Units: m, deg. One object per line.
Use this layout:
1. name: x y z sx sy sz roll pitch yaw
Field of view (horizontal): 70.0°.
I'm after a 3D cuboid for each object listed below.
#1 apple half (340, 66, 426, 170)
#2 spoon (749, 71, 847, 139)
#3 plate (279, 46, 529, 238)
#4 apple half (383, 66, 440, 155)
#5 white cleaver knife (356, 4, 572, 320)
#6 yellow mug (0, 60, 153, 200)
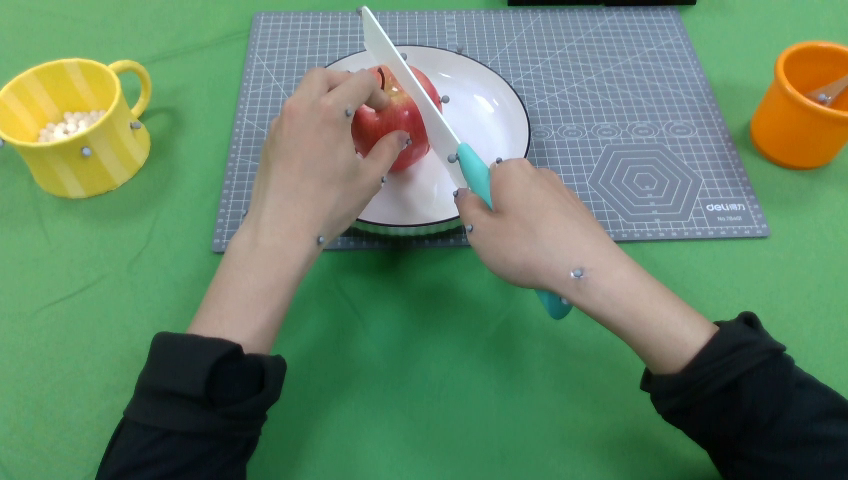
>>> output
1. apple half: -0.039 -0.092 0.492 0.053 0.075 0.080 -29 65 -13
2. spoon: 0.368 -0.143 0.499 0.022 0.194 0.041 26 43 -38
3. plate: -0.016 -0.084 0.519 0.209 0.038 0.207 1 57 -1
4. apple half: -0.006 -0.110 0.504 0.033 0.082 0.080 -28 61 -15
5. white cleaver knife: 0.021 -0.064 0.442 0.021 0.066 0.284 -28 69 -9
6. yellow mug: -0.284 -0.103 0.514 0.099 0.064 0.130 29 60 17
